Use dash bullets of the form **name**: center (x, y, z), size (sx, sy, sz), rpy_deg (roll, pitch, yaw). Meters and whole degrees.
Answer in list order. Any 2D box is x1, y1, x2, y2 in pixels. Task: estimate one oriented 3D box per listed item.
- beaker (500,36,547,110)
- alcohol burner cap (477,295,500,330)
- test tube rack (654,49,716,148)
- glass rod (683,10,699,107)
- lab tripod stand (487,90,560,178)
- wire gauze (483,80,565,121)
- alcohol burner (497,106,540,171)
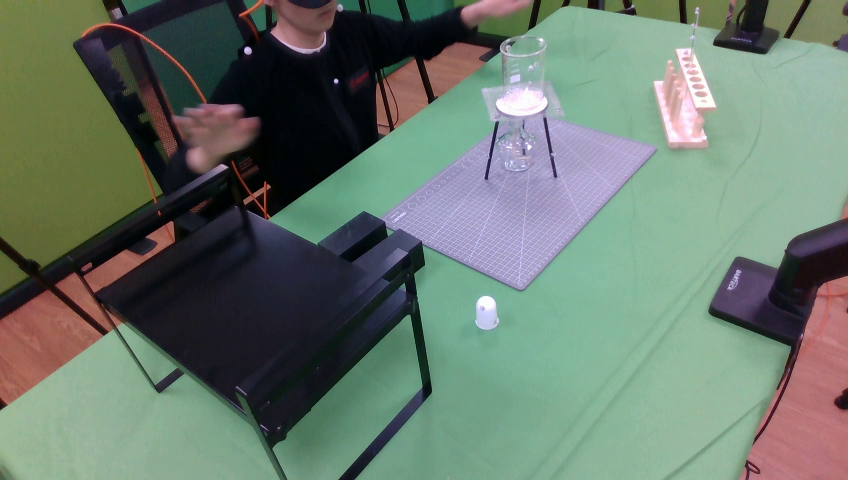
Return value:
- **beaker**: center (0.169, -0.276, 1.004), size (0.084, 0.101, 0.073), rpy_deg (-26, 45, -18)
- **alcohol burner cap**: center (0.089, 0.097, 0.833), size (0.034, 0.048, 0.033), rpy_deg (-4, 42, 4)
- **test tube rack**: center (0.502, -0.281, 1.176), size (0.066, 0.085, 0.241), rpy_deg (2, 41, 11)
- **glass rod**: center (0.501, -0.335, 1.138), size (0.008, 0.201, 0.008), rpy_deg (-7, 45, 7)
- **lab tripod stand**: center (0.175, -0.185, 1.074), size (0.148, 0.132, 0.147), rpy_deg (-5, 42, 5)
- **wire gauze**: center (0.168, -0.237, 1.035), size (0.125, 0.011, 0.121), rpy_deg (-7, 39, 4)
- **alcohol burner**: center (0.170, -0.187, 1.092), size (0.078, 0.119, 0.077), rpy_deg (-6, 41, 6)
